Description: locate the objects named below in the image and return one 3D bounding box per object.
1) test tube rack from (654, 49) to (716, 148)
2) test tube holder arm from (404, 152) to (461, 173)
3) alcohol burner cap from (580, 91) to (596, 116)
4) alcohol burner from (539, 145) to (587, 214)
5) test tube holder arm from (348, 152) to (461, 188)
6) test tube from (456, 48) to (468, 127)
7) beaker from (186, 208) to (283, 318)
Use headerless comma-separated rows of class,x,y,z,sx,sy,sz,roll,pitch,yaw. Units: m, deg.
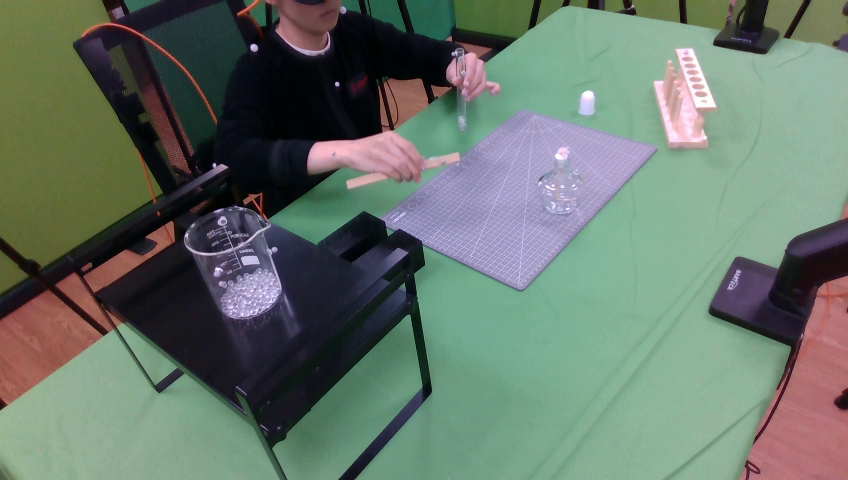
test tube rack,0.502,-0.281,1.176,0.066,0.085,0.241,1,41,11
test tube holder arm,0.013,-0.120,0.941,0.088,0.015,0.010,-15,2,-7
alcohol burner cap,0.338,-0.283,1.238,0.034,0.048,0.033,-5,42,5
alcohol burner,0.226,-0.102,0.986,0.078,0.119,0.077,-6,41,6
test tube holder arm,-0.029,-0.109,0.929,0.179,0.015,0.013,-15,2,-8
test tube,0.068,-0.267,1.076,0.017,0.151,0.017,-3,41,3
beaker,-0.192,0.026,0.637,0.084,0.101,0.073,-13,41,-7
